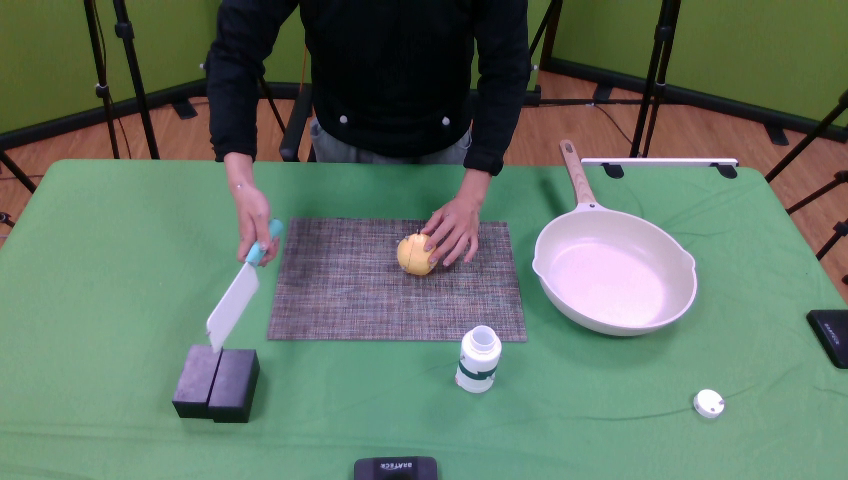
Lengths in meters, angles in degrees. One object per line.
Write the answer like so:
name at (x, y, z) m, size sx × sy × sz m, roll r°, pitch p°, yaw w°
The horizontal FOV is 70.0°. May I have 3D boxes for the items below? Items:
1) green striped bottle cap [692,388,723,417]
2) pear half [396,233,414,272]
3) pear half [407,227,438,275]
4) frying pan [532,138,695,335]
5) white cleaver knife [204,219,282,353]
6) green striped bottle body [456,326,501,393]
green striped bottle cap at (0.460, 0.263, 0.984) m, size 0.044 × 0.020 × 0.044 m, roll 3°, pitch 46°, yaw -3°
pear half at (-0.037, 0.019, 1.125) m, size 0.031 × 0.088 × 0.070 m, roll 5°, pitch 50°, yaw 0°
pear half at (-0.001, 0.016, 1.117) m, size 0.056 × 0.110 × 0.076 m, roll 5°, pitch 51°, yaw 1°
frying pan at (0.336, -0.024, 1.190) m, size 0.307 × 0.103 × 0.484 m, roll -2°, pitch 55°, yaw -7°
white cleaver knife at (-0.282, 0.061, 0.959) m, size 0.021 × 0.066 × 0.285 m, roll 4°, pitch 36°, yaw 9°
green striped bottle body at (0.086, 0.185, 0.959) m, size 0.063 × 0.120 × 0.063 m, roll 2°, pitch 46°, yaw -2°
